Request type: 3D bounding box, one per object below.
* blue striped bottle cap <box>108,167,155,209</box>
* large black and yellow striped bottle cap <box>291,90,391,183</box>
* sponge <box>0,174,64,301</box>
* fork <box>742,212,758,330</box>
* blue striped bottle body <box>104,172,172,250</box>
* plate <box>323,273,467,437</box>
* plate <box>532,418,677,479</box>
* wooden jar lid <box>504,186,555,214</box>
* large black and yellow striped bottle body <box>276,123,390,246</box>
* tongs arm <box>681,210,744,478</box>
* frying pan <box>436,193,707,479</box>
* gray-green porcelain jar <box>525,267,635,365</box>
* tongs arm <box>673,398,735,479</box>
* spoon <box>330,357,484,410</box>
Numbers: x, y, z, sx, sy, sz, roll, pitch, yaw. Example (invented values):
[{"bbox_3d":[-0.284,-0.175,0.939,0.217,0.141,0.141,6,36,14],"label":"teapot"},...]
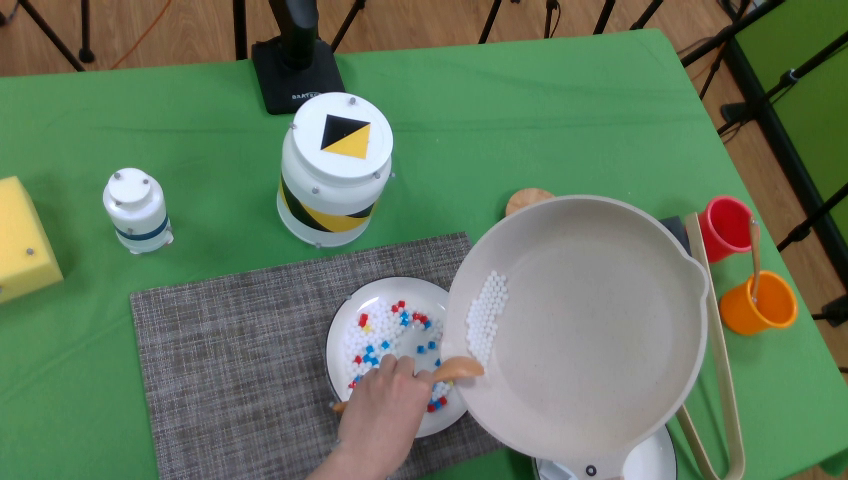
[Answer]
[{"bbox_3d":[-0.322,-0.058,0.667,0.045,0.021,0.044,6,63,-12],"label":"blue striped bottle cap"},{"bbox_3d":[-0.094,-0.120,0.694,0.115,0.019,0.114,7,67,-15],"label":"large black and yellow striped bottle cap"},{"bbox_3d":[-0.529,0.023,0.659,0.207,0.061,0.117,-25,77,-26],"label":"sponge"},{"bbox_3d":[0.496,0.050,0.919,0.028,0.018,0.209,-25,121,-17],"label":"fork"},{"bbox_3d":[-0.336,-0.038,0.712,0.063,0.121,0.062,7,65,-14],"label":"blue striped bottle body"},{"bbox_3d":[-0.026,0.145,0.773,0.210,0.038,0.207,6,66,-14],"label":"plate"},{"bbox_3d":[0.234,0.279,0.802,0.208,0.039,0.206,7,65,-14],"label":"plate"},{"bbox_3d":[0.171,-0.031,0.926,0.109,0.021,0.107,6,67,-15],"label":"wooden jar lid"},{"bbox_3d":[-0.117,-0.085,0.767,0.131,0.184,0.129,7,65,-14],"label":"large black and yellow striped bottle body"},{"bbox_3d":[0.419,0.144,0.887,0.028,0.028,0.385,0,78,-25],"label":"tongs arm"},{"bbox_3d":[0.166,0.179,0.624,0.104,0.306,0.483,40,38,-47],"label":"frying pan"},{"bbox_3d":[0.203,0.107,0.816,0.106,0.127,0.105,7,65,-14],"label":"gray-green porcelain jar"},{"bbox_3d":[0.342,0.158,0.856,0.051,0.026,0.383,-17,83,-24],"label":"tongs arm"},{"bbox_3d":[-0.013,0.158,0.664,0.194,0.041,0.022,-12,113,-32],"label":"spoon"}]
